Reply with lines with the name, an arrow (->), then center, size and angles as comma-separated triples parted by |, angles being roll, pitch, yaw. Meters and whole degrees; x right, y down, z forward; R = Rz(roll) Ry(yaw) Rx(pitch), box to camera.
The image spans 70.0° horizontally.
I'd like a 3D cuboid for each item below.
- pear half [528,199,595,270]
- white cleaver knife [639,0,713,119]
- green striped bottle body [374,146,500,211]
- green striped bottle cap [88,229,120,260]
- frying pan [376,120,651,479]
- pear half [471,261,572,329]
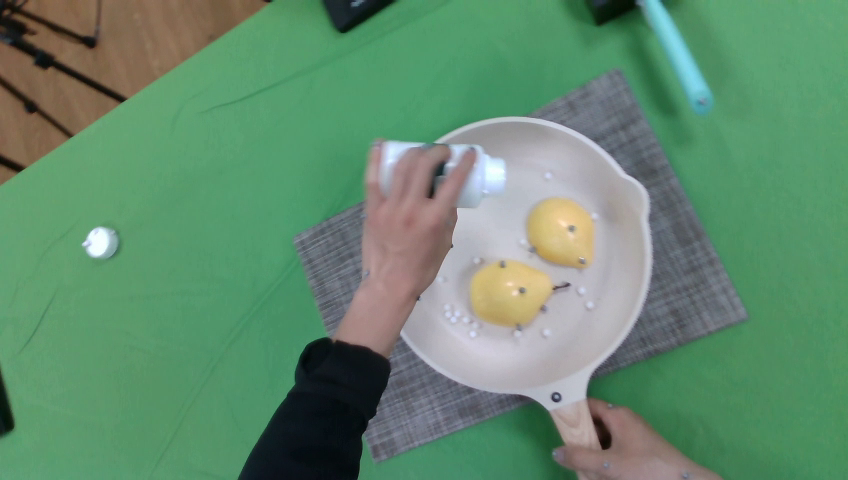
pear half -> 0.152, -0.006, 0.665 | 0.070, 0.031, 0.087 | -41, 71, 15
white cleaver knife -> 0.241, -0.256, 0.647 | 0.021, 0.066, 0.285 | -24, 76, 20
green striped bottle body -> 0.014, -0.060, 0.590 | 0.119, 0.063, 0.063 | 1, 85, 2
green striped bottle cap -> -0.462, 0.006, 0.875 | 0.044, 0.020, 0.044 | -2, 84, 18
frying pan -> 0.123, 0.112, 0.628 | 0.306, 0.103, 0.484 | -23, 70, 16
pear half -> 0.106, 0.058, 0.663 | 0.109, 0.056, 0.076 | -13, 86, 14
